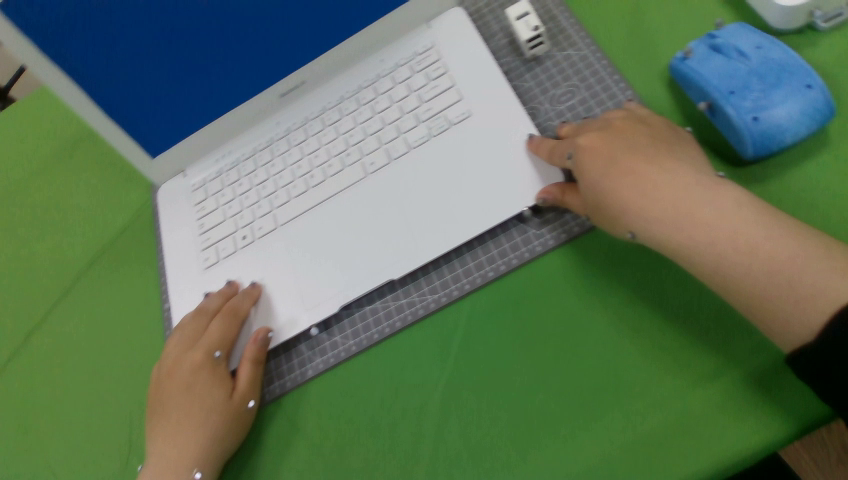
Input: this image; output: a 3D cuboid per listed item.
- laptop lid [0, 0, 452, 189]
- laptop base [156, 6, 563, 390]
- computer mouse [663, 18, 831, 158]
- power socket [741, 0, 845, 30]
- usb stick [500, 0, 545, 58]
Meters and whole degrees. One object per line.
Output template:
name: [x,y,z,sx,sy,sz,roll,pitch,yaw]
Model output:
laptop lid: [-0.173,-0.204,0.522,0.356,0.244,0.013,-30,43,10]
laptop base: [-0.081,-0.045,0.538,0.354,0.023,0.233,-29,59,9]
computer mouse: [0.219,-0.112,0.421,0.063,0.041,0.116,-30,51,11]
power socket: [0.253,-0.251,0.480,0.072,0.033,0.224,-27,56,11]
usb stick: [0.083,-0.189,0.528,0.021,0.027,0.058,-29,54,14]
